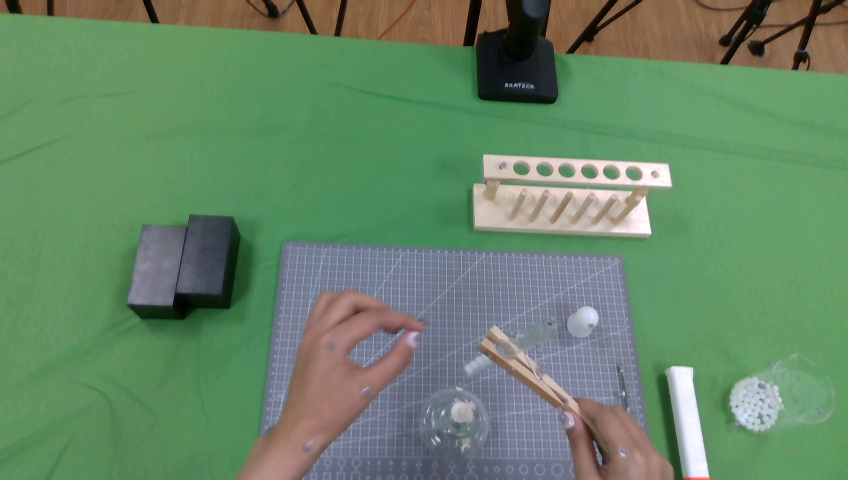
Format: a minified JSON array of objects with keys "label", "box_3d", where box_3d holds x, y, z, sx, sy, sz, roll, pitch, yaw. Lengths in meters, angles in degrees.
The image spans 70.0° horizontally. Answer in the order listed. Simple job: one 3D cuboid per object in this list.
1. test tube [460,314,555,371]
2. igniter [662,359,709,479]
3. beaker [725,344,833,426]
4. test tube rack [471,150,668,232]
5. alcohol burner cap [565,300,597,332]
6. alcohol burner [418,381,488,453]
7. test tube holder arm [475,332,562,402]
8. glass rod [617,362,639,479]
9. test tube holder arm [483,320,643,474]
[{"label":"test tube","box_3d":[0.067,0.092,0.528,0.017,0.150,0.017,9,64,-20]},{"label":"igniter","box_3d":[0.309,0.274,0.693,0.057,0.025,0.274,7,65,-14]},{"label":"beaker","box_3d":[0.409,0.174,0.710,0.074,0.101,0.083,15,64,1]},{"label":"test tube rack","box_3d":[0.189,-0.062,0.799,0.243,0.085,0.066,2,65,-5]},{"label":"alcohol burner cap","box_3d":[0.198,0.092,0.752,0.034,0.048,0.033,2,66,-5]},{"label":"alcohol burner","box_3d":[0.033,0.186,0.651,0.078,0.120,0.077,2,63,-4]},{"label":"test tube holder arm","box_3d":[0.082,0.110,0.525,0.088,0.015,0.010,36,60,0]},{"label":"glass rod","box_3d":[0.242,0.241,0.708,0.008,0.008,0.198,2,65,-6]},{"label":"test tube holder arm","box_3d":[0.120,0.136,0.526,0.178,0.015,0.013,43,61,4]}]
